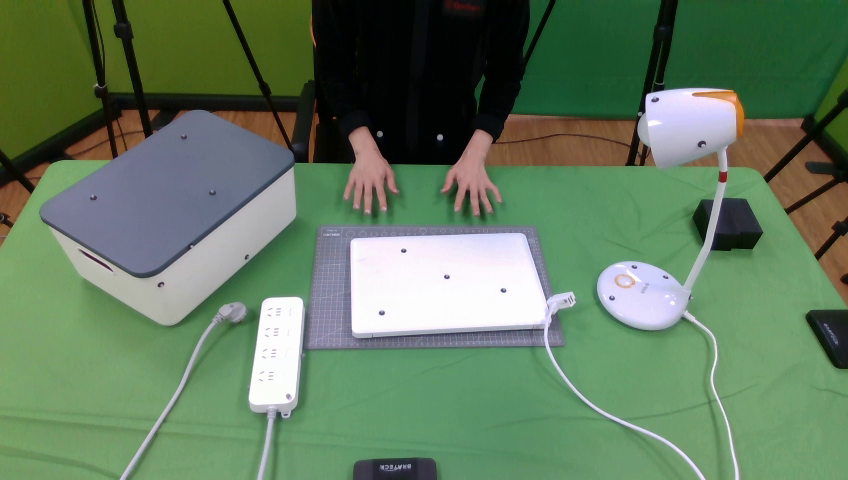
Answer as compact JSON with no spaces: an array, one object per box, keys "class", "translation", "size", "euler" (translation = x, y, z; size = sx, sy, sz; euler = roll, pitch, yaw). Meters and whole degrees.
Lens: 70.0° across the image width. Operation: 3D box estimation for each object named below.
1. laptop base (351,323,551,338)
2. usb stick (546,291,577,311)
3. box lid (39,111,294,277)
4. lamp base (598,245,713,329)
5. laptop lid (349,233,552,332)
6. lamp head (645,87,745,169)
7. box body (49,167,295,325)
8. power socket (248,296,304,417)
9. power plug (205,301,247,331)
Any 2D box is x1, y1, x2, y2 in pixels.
[{"class":"laptop base","translation":[0.040,0.080,1.125],"size":[0.355,0.023,0.234],"euler":[-2,43,-6]},{"class":"usb stick","translation":[0.241,0.110,1.086],"size":[0.027,0.059,0.021],"euler":[-36,102,-42]},{"class":"box lid","translation":[-0.434,-0.097,1.055],"size":[0.262,0.015,0.370],"euler":[25,49,18]},{"class":"lamp base","translation":[0.420,0.051,1.071],"size":[0.179,0.181,0.160],"euler":[22,49,13]},{"class":"laptop lid","translation":[0.040,0.070,1.119],"size":[0.357,0.013,0.240],"euler":[-1,44,-5]},{"class":"lamp head","translation":[0.382,-0.161,0.852],"size":[0.122,0.113,0.112],"euler":[-4,42,25]},{"class":"box body","translation":[-0.437,-0.046,1.110],"size":[0.253,0.161,0.363],"euler":[24,49,19]},{"class":"power socket","translation":[-0.240,0.182,0.996],"size":[0.072,0.033,0.225],"euler":[-2,47,-4]},{"class":"power plug","translation":[-0.337,0.132,1.032],"size":[0.072,0.053,0.035],"euler":[-34,58,-12]}]
